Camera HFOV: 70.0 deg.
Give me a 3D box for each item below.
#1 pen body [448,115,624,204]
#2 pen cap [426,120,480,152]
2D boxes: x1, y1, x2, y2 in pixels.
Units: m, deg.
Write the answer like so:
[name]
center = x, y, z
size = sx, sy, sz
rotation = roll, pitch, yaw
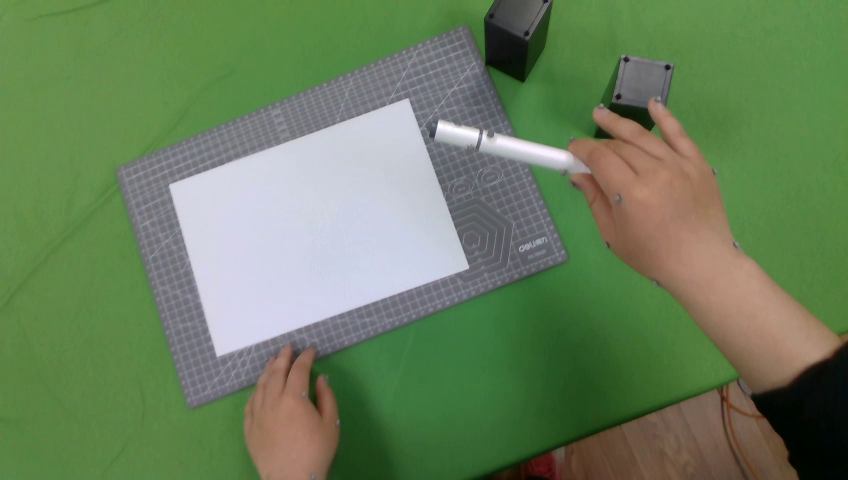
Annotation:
[pen body]
center = 0.083, -0.062, 0.454
size = 0.144, 0.017, 0.017
rotation = 24, 85, -5
[pen cap]
center = 0.021, -0.077, 0.447
size = 0.038, 0.017, 0.017
rotation = 14, 83, -5
